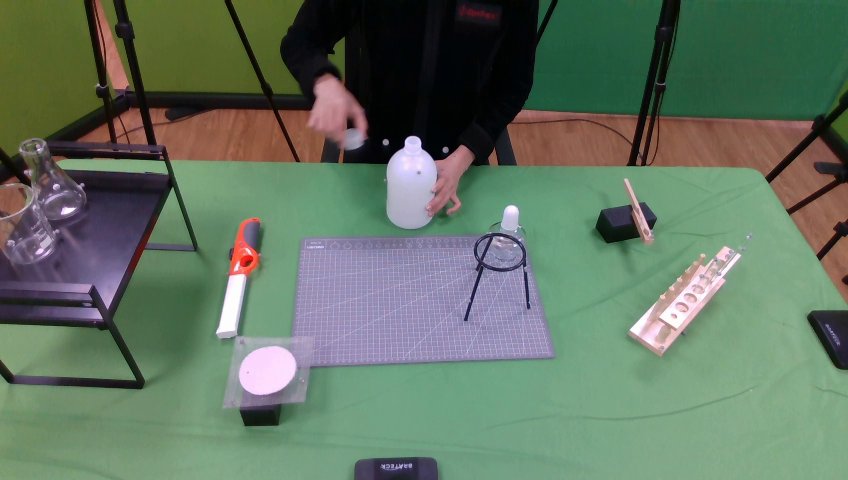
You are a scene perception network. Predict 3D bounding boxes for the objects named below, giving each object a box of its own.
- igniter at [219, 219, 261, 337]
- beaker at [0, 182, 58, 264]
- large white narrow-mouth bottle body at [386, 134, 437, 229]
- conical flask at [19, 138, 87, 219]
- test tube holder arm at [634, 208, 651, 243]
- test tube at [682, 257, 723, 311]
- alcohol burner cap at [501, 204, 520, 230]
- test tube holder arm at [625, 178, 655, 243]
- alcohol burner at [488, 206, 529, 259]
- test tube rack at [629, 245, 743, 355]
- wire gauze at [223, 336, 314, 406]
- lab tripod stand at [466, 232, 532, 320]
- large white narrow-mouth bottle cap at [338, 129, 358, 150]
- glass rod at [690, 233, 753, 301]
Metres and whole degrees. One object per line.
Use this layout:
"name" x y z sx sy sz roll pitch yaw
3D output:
"igniter" -0.336 0.059 1.111 0.057 0.025 0.274 -8 46 3
"beaker" -0.582 -0.019 0.870 0.074 0.101 0.083 5 46 1
"large white narrow-mouth bottle body" -0.024 -0.120 1.190 0.102 0.195 0.101 3 46 -2
"conical flask" -0.576 -0.097 0.930 0.075 0.122 0.075 2 46 -2
"test tube holder arm" 0.428 -0.030 1.189 0.010 0.015 0.087 1 47 -2
"test tube" 0.475 0.080 1.037 0.017 0.151 0.017 1 51 -1
"alcohol burner cap" 0.164 -0.046 1.133 0.034 0.048 0.033 2 40 -2
"test tube holder arm" 0.433 -0.062 1.220 0.013 0.015 0.177 0 47 -3
"alcohol burner" 0.163 -0.020 1.158 0.078 0.120 0.077 0 47 0
"test tube rack" 0.474 0.095 1.091 0.242 0.085 0.066 -34 56 -31
"wire gauze" -0.237 0.197 0.931 0.121 0.011 0.124 1 45 -4
"lab tripod stand" 0.125 0.059 1.065 0.148 0.132 0.147 1 45 0
"large white narrow-mouth bottle cap" -0.137 -0.182 1.094 0.038 0.024 0.037 3 46 -3
"glass rod" 0.507 0.053 1.041 0.008 0.200 0.008 5 51 -6
